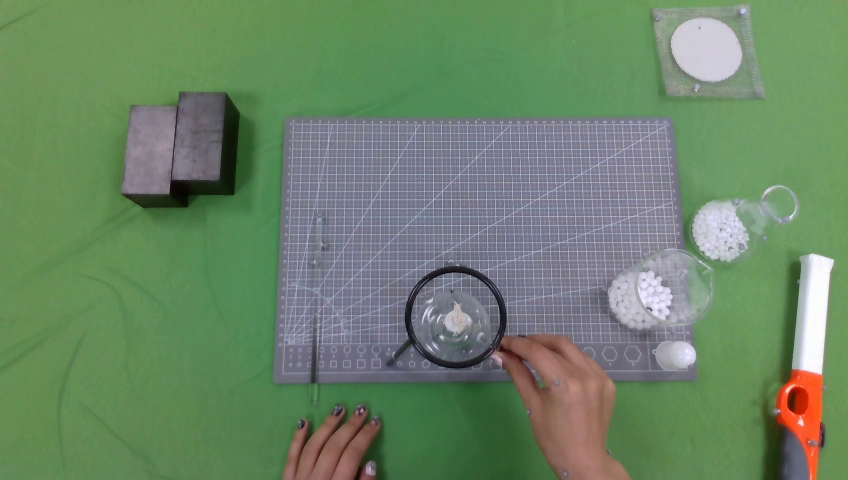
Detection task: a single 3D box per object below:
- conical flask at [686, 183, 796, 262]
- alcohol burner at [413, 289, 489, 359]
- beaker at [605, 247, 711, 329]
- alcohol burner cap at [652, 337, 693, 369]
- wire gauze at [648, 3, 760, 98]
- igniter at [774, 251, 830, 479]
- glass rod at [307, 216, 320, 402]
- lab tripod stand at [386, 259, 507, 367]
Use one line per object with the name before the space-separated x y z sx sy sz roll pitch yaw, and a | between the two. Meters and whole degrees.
conical flask | 0.331 -0.024 0.626 0.075 0.122 0.075 0 77 0
alcohol burner | 0.027 0.084 0.599 0.078 0.119 0.077 0 77 1
beaker | 0.234 0.052 0.617 0.084 0.100 0.073 -24 79 -6
alcohol burner cap | 0.263 0.117 0.633 0.034 0.048 0.033 0 77 -1
wire gauze | 0.337 -0.228 0.727 0.125 0.011 0.121 -1 79 -3
igniter | 0.400 0.147 0.640 0.057 0.025 0.275 15 78 -8
glass rod | -0.118 0.072 0.651 0.008 0.008 0.199 1 81 -1
lab tripod stand | 0.024 0.082 0.589 0.148 0.132 0.148 0 80 -1
